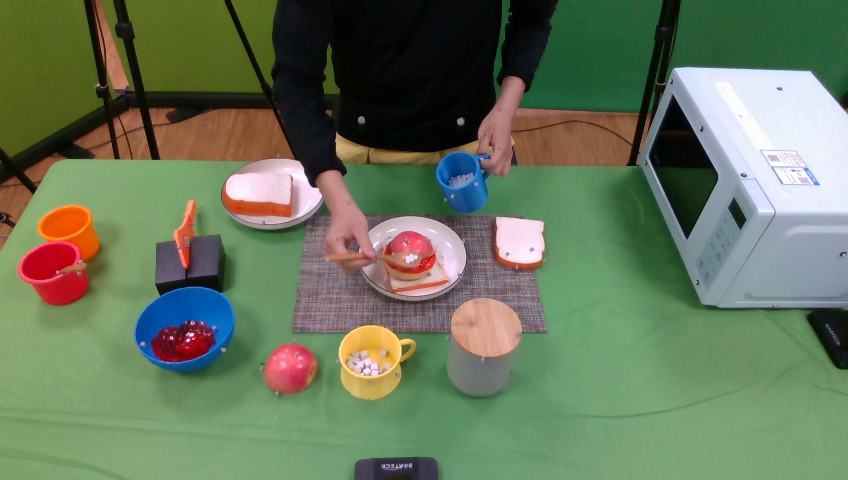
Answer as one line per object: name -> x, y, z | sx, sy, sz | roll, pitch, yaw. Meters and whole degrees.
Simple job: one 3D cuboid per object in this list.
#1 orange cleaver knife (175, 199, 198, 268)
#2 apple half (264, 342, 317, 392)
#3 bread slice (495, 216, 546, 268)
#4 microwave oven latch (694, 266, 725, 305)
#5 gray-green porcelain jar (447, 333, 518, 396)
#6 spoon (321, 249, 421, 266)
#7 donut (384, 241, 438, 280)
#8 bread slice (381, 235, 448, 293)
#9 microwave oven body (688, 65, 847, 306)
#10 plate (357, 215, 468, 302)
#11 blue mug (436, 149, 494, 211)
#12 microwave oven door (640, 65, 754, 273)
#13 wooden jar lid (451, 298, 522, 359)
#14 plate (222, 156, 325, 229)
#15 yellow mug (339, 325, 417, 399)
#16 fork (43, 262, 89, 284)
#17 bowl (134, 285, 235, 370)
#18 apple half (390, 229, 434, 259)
orange cleaver knife -> -0.438, -0.017, 1.138 | 0.012, 0.077, 0.210 | -13, 27, -7
apple half -> -0.214, 0.198, 0.970 | 0.074, 0.053, 0.080 | 19, 48, 10
bread slice -> 0.194, 0.002, 1.205 | 0.105, 0.019, 0.131 | 5, 45, 2
microwave oven latch -> 0.523, 0.082, 1.115 | 0.030, 0.029, 0.078 | 3, 46, 0
gray-green porcelain jar -> 0.091, 0.178, 0.960 | 0.106, 0.127, 0.105 | 2, 47, -2
spoon -> -0.082, 0.024, 0.981 | 0.194, 0.022, 0.041 | 6, 35, -43
donut -> -0.025, 0.030, 1.110 | 0.099, 0.048, 0.098 | 2, 46, -2
bread slice -> -0.027, 0.041, 1.141 | 0.107, 0.018, 0.133 | -13, 51, -15
microwave oven body -> 0.669, -0.111, 1.176 | 0.326, 0.261, 0.439 | 0, 46, -3
plate -> -0.022, 0.037, 1.141 | 0.208, 0.039, 0.206 | 2, 47, -2
blue mug -> 0.088, -0.124, 1.166 | 0.116, 0.106, 0.082 | -39, 63, -3
microwave oven door -> 0.523, -0.147, 1.193 | 0.039, 0.245, 0.353 | 0, 47, -3
wooden jar lid -> 0.093, 0.135, 0.914 | 0.108, 0.021, 0.107 | 3, 48, -3
plate -> -0.308, -0.095, 1.251 | 0.209, 0.038, 0.208 | 2, 47, -2
yellow mug -> -0.072, 0.190, 0.978 | 0.131, 0.064, 0.099 | -17, 50, -20
fork -> -0.599, 0.053, 1.013 | 0.207, 0.019, 0.028 | -14, 30, 45
bowl -> -0.377, 0.155, 0.981 | 0.151, 0.077, 0.150 | 2, 46, -2
apple half -> -0.021, 0.003, 1.085 | 0.081, 0.033, 0.081 | 7, 45, -7
